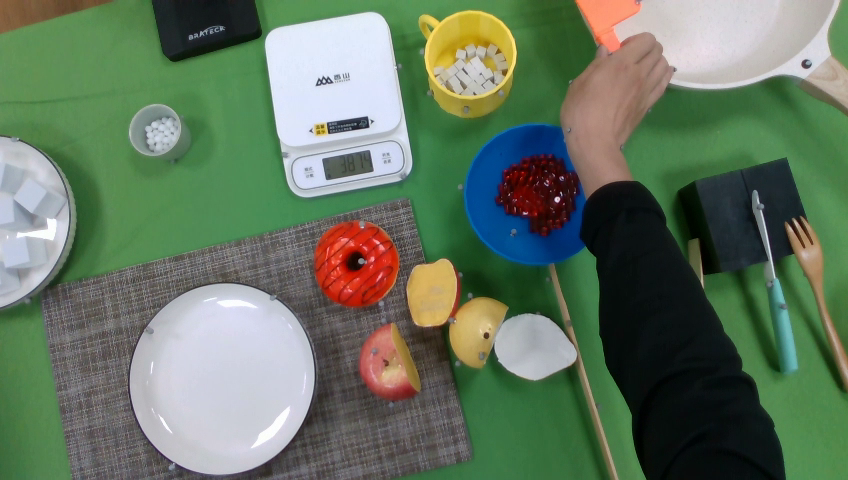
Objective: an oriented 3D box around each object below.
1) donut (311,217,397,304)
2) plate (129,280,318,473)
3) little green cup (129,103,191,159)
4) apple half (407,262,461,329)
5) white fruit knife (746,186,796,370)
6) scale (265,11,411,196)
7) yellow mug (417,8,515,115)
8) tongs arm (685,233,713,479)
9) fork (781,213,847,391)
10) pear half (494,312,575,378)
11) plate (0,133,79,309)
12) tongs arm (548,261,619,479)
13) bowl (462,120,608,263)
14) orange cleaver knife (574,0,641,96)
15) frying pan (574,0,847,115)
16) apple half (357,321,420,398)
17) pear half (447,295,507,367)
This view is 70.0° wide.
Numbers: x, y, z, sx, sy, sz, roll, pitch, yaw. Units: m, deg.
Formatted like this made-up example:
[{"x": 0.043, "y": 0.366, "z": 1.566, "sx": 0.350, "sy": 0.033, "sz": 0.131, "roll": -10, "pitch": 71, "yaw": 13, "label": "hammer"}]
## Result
[{"x": -0.078, "y": 0.022, "z": 0.676, "sx": 0.099, "sy": 0.048, "sz": 0.099, "roll": 0, "pitch": 86, "yaw": 6, "label": "donut"}, {"x": -0.218, "y": 0.148, "z": 0.674, "sx": 0.209, "sy": 0.038, "sz": 0.208, "roll": 0, "pitch": 84, "yaw": 3, "label": "plate"}, {"x": -0.306, "y": -0.125, "z": 0.710, "sx": 0.061, "sy": 0.039, "sz": 0.061, "roll": 0, "pitch": 84, "yaw": 4, "label": "little green cup"}, {"x": 0.018, "y": 0.060, "z": 0.673, "sx": 0.080, "sy": 0.033, "sz": 0.081, "roll": 10, "pitch": 104, "yaw": 46, "label": "apple half"}, {"x": 0.363, "y": 0.043, "z": 0.637, "sx": 0.016, "sy": 0.027, "sz": 0.208, "roll": -16, "pitch": 98, "yaw": 2, "label": "white fruit knife"}, {"x": -0.101, "y": -0.160, "z": 0.706, "sx": 0.148, "sy": 0.031, "sz": 0.200, "roll": -10, "pitch": 84, "yaw": 3, "label": "scale"}, {"x": 0.039, "y": -0.210, "z": 0.687, "sx": 0.130, "sy": 0.064, "sz": 0.100, "roll": 43, "pitch": 88, "yaw": 7, "label": "yellow mug"}, {"x": 0.292, "y": 0.186, "z": 0.653, "sx": 0.028, "sy": 0.028, "sz": 0.386, "roll": 1, "pitch": 84, "yaw": -5, "label": "tongs arm"}, {"x": 0.420, "y": 0.069, "z": 0.639, "sx": 0.028, "sy": 0.018, "sz": 0.208, "roll": -24, "pitch": 98, "yaw": -5, "label": "fork"}, {"x": 0.123, "y": 0.117, "z": 0.666, "sx": 0.087, "sy": 0.031, "sz": 0.070, "roll": 12, "pitch": 83, "yaw": 19, "label": "pear half"}, {"x": -0.501, "y": -0.021, "z": 0.710, "sx": 0.207, "sy": 0.039, "sz": 0.207, "roll": 0, "pitch": 84, "yaw": 3, "label": "plate"}, {"x": 0.207, "y": 0.198, "z": 0.652, "sx": 0.051, "sy": 0.026, "sz": 0.383, "roll": -14, "pitch": 84, "yaw": -3, "label": "tongs arm"}, {"x": 0.116, "y": -0.047, "z": 0.660, "sx": 0.151, "sy": 0.077, "sz": 0.151, "roll": 0, "pitch": 85, "yaw": 3, "label": "bowl"}, {"x": 0.188, "y": -0.252, "z": 0.639, "sx": 0.077, "sy": 0.012, "sz": 0.210, "roll": -26, "pitch": 81, "yaw": -5, "label": "orange cleaver knife"}, {"x": 0.368, "y": -0.226, "z": 0.652, "sx": 0.307, "sy": 0.103, "sz": 0.485, "roll": -41, "pitch": 76, "yaw": -1, "label": "frying pan"}, {"x": -0.042, "y": 0.132, "z": 0.649, "sx": 0.053, "sy": 0.075, "sz": 0.080, "roll": -24, "pitch": 87, "yaw": 5, "label": "apple half"}, {"x": 0.052, "y": 0.091, "z": 0.633, "sx": 0.056, "sy": 0.110, "sz": 0.076, "roll": 18, "pitch": 80, "yaw": 6, "label": "pear half"}]
